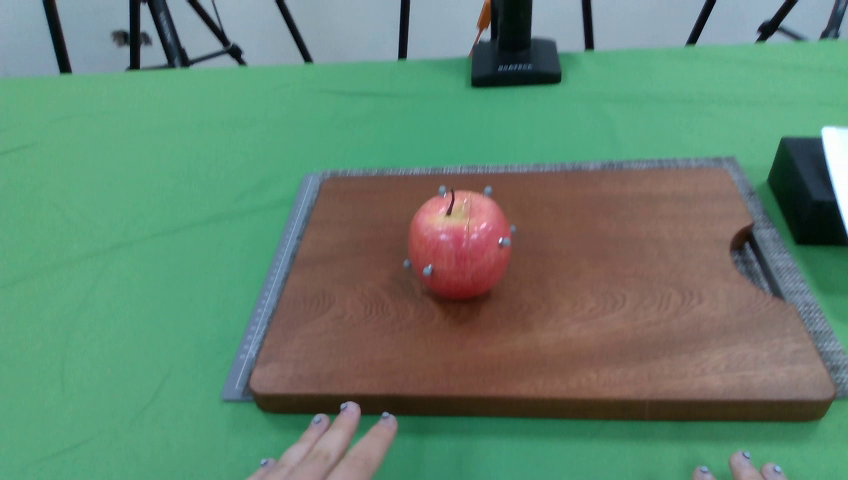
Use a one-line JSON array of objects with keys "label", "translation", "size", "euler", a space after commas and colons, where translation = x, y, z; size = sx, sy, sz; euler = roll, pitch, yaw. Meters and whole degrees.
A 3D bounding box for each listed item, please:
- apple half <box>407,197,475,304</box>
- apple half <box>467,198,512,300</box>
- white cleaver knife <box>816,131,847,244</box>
[{"label": "apple half", "translation": [0.014, 0.009, 0.478], "size": [0.053, 0.075, 0.080], "euler": [-4, 42, 10]}, {"label": "apple half", "translation": [0.053, 0.007, 0.473], "size": [0.033, 0.082, 0.080], "euler": [-4, 40, 9]}, {"label": "white cleaver knife", "translation": [0.368, 0.016, 0.471], "size": [0.066, 0.022, 0.284], "euler": [0, 52, 12]}]
